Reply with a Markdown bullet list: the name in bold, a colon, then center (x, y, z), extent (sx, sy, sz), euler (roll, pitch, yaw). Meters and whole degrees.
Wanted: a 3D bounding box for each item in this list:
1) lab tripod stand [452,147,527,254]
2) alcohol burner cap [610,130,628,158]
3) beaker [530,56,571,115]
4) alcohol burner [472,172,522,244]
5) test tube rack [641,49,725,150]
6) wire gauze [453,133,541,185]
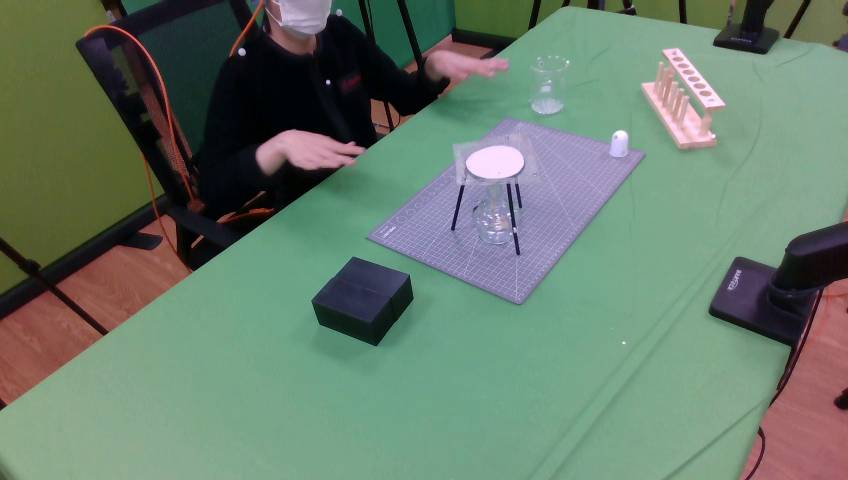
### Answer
- **lab tripod stand**: center (0.111, -0.066, 0.943), extent (0.148, 0.132, 0.147), euler (-5, 42, 5)
- **alcohol burner cap**: center (0.359, -0.177, 1.106), extent (0.034, 0.048, 0.033), euler (-5, 41, 5)
- **beaker**: center (0.259, -0.316, 1.244), extent (0.084, 0.101, 0.073), euler (-12, 41, -5)
- **alcohol burner**: center (0.112, -0.053, 0.942), extent (0.078, 0.119, 0.077), euler (-6, 40, 6)
- **test tube rack**: center (0.495, -0.279, 1.175), extent (0.067, 0.085, 0.241), euler (-5, 41, 3)
- **wire gauze**: center (0.105, -0.120, 0.902), extent (0.125, 0.011, 0.121), euler (-5, 41, 6)
